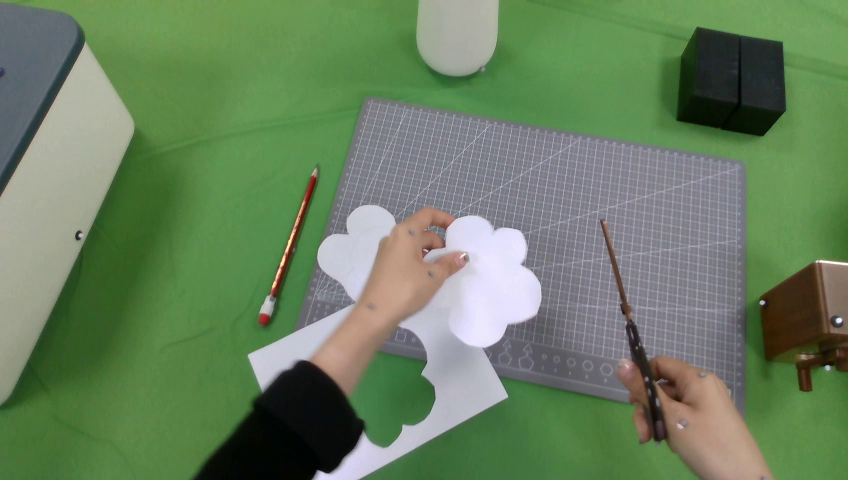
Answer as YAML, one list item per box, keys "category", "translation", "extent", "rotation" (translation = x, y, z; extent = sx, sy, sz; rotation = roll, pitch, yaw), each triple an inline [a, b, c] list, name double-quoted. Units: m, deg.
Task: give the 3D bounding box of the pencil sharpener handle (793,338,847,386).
- category: "pencil sharpener handle"
  translation: [0.361, 0.111, 0.543]
  extent: [0.036, 0.068, 0.030]
  rotation: [12, 67, -10]

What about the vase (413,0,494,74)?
- category: "vase"
  translation: [0.034, -0.278, 0.668]
  extent: [0.098, 0.201, 0.097]
  rotation: [0, 65, 1]

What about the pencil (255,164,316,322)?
- category: "pencil"
  translation: [-0.145, -0.003, 0.653]
  extent: [0.012, 0.012, 0.193]
  rotation: [12, 65, 5]

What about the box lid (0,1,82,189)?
- category: "box lid"
  translation: [-0.480, -0.072, 0.511]
  extent: [0.263, 0.015, 0.369]
  rotation: [11, 67, 4]

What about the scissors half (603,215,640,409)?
- category: "scissors half"
  translation: [0.165, 0.064, 0.491]
  extent: [0.013, 0.040, 0.175]
  rotation: [-12, 87, 16]

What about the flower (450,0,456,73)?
- category: "flower"
  translation: [0.030, -0.325, 0.598]
  extent: [0.044, 0.365, 0.038]
  rotation: [4, 49, 5]

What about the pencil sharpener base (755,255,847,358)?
- category: "pencil sharpener base"
  translation: [0.371, 0.070, 0.574]
  extent: [0.061, 0.108, 0.076]
  rotation: [6, 67, 2]

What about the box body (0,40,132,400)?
- category: "box body"
  translation: [-0.480, -0.040, 0.580]
  extent: [0.254, 0.161, 0.361]
  rotation: [11, 67, 4]

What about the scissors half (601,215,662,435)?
- category: "scissors half"
  translation: [0.159, 0.061, 0.472]
  extent: [0.013, 0.040, 0.174]
  rotation: [-12, 70, 10]
